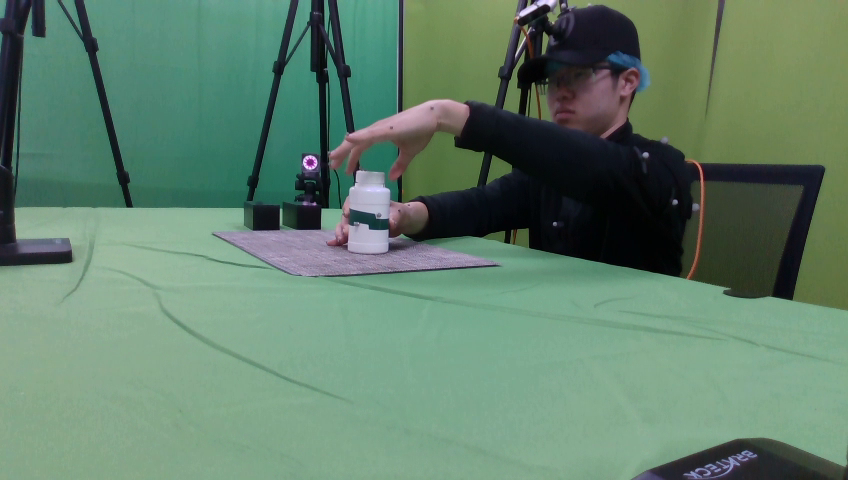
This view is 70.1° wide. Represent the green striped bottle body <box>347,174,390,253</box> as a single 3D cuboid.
[{"bbox_3d":[-0.083,-0.042,0.913,0.063,0.119,0.063,3,8,0],"label":"green striped bottle body"}]

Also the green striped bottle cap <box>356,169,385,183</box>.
[{"bbox_3d":[-0.081,-0.095,0.908,0.044,0.020,0.044,2,10,0],"label":"green striped bottle cap"}]
